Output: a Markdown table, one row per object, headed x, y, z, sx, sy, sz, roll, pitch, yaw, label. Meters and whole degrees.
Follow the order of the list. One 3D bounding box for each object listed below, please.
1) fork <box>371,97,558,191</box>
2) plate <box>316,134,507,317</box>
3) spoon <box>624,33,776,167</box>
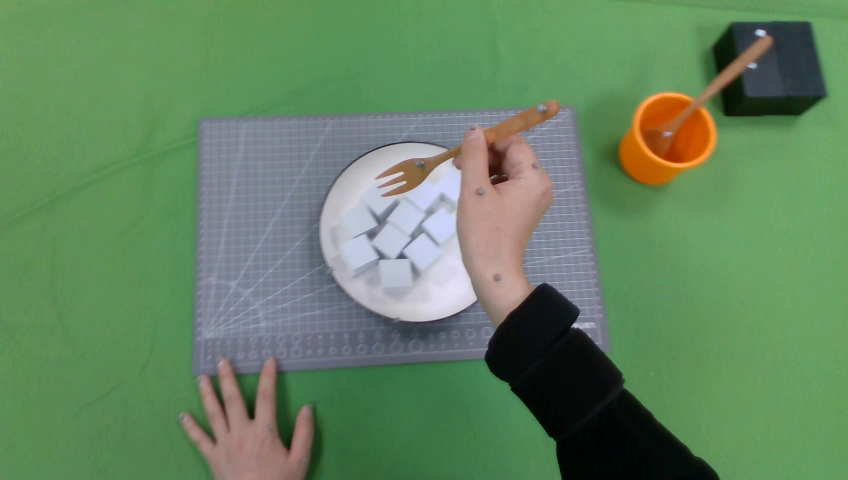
| x | y | z | sx | sy | sz | roll | pitch | yaw | label |
| --- | --- | --- | --- | --- | --- | --- | --- | --- | --- |
| 0.023 | -0.075 | 0.492 | 0.019 | 0.206 | 0.028 | -16 | 90 | -41 | fork |
| -0.014 | -0.015 | 0.672 | 0.208 | 0.039 | 0.206 | 1 | 76 | -3 | plate |
| 0.302 | -0.151 | 0.671 | 0.022 | 0.194 | 0.041 | -13 | 64 | -51 | spoon |
